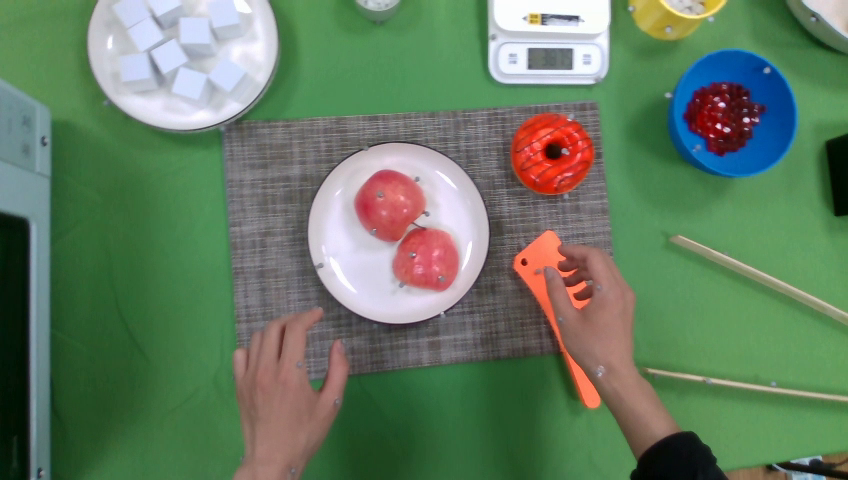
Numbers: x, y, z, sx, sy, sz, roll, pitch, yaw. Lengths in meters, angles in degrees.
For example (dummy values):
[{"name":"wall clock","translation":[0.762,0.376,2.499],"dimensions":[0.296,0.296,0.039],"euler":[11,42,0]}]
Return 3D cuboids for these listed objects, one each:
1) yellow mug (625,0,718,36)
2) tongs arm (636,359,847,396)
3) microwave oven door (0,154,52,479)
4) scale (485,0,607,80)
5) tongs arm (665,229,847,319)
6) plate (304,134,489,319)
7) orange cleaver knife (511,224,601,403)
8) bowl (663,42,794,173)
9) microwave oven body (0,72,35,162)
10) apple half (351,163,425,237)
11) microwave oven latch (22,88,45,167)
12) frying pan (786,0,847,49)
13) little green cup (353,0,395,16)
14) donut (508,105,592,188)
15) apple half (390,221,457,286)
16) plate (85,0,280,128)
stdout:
[{"name":"yellow mug","translation":[0.296,-0.323,0.737],"dimensions":[0.100,0.064,0.131],"euler":[-38,90,-6]},{"name":"tongs arm","translation":[0.447,0.159,0.736],"dimensions":[0.385,0.026,0.050],"euler":[11,82,-6]},{"name":"microwave oven door","translation":[-0.406,0.091,0.531],"dimensions":[0.039,0.244,0.355],"euler":[-3,86,-6]},{"name":"scale","translation":[0.148,-0.298,0.738],"dimensions":[0.149,0.031,0.200],"euler":[0,87,-5]},{"name":"tongs arm","translation":[0.471,0.075,0.746],"dimensions":[0.388,0.028,0.028],"euler":[26,77,-4]},{"name":"plate","translation":[-0.031,-0.015,0.694],"dimensions":[0.209,0.038,0.208],"euler":[0,86,-6]},{"name":"orange cleaver knife","translation":[0.171,0.085,0.717],"dimensions":[0.077,0.012,0.211],"euler":[-23,87,-12]},{"name":"bowl","translation":[0.348,-0.148,0.725],"dimensions":[0.151,0.077,0.151],"euler":[0,87,-6]},{"name":"microwave oven body","translation":[-0.554,0.055,0.524],"dimensions":[0.326,0.260,0.441],"euler":[-2,87,-6]},{"name":"apple half","translation":[-0.041,-0.049,0.680],"dimensions":[0.081,0.053,0.074],"euler":[-44,87,-8]},{"name":"microwave oven latch","translation":[-0.423,-0.119,0.646],"dimensions":[0.030,0.029,0.079],"euler":[0,87,-6]},{"name":"frying pan","translation":[0.625,-0.284,0.749],"dimensions":[0.307,0.103,0.486],"euler":[-32,82,-6]},{"name":"little green cup","translation":[-0.059,-0.297,0.714],"dimensions":[0.061,0.038,0.061],"euler":[0,85,-5]},{"name":"donut","translation":[0.147,-0.110,0.715],"dimensions":[0.099,0.048,0.099],"euler":[0,87,-4]},{"name":"apple half","translation":[0.001,0.014,0.688],"dimensions":[0.081,0.033,0.081],"euler":[0,88,-2]},{"name":"plate","translation":[-0.268,-0.226,0.688],"dimensions":[0.208,0.039,0.207],"euler":[0,86,-6]}]
